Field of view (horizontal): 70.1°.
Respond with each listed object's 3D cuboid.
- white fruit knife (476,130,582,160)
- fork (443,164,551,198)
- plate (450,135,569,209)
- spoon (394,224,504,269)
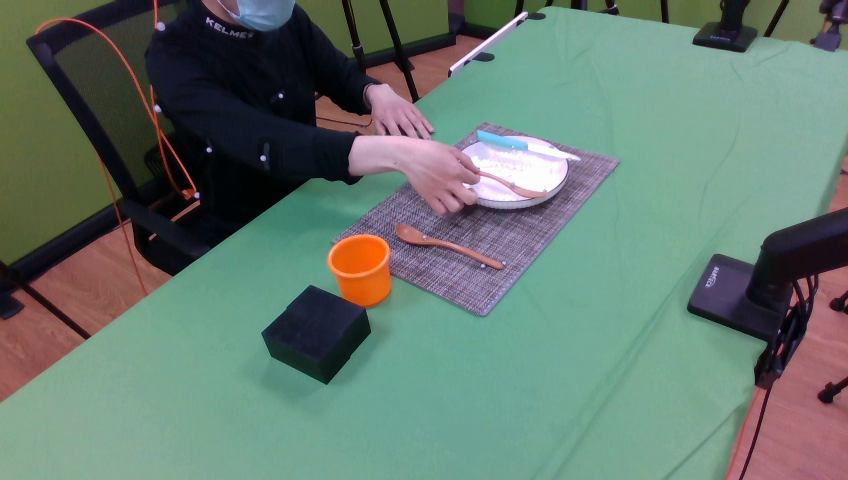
[{"bbox_3d":[0.184,-0.170,1.089,0.206,0.016,0.027,18,44,25],"label":"white fruit knife"},{"bbox_3d":[0.115,-0.101,1.010,0.206,0.019,0.028,23,37,30],"label":"fork"},{"bbox_3d":[0.149,-0.117,1.065,0.209,0.038,0.208,-4,41,4],"label":"plate"},{"bbox_3d":[0.037,0.010,0.945,0.192,0.022,0.042,18,29,26],"label":"spoon"}]
